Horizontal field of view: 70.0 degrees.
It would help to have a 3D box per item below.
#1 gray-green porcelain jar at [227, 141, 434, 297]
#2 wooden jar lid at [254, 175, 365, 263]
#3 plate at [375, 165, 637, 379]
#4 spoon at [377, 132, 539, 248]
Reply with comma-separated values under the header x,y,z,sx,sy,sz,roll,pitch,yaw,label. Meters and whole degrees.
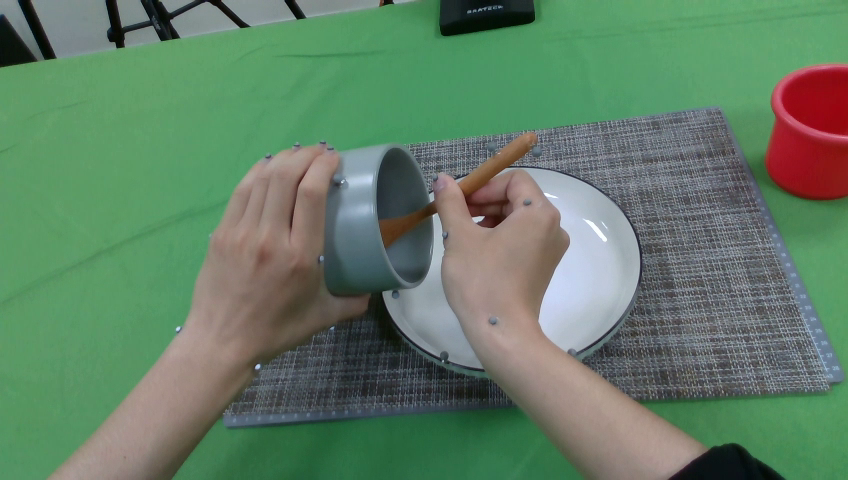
x,y,z,sx,sy,sz,roll,pitch,yaw,label
-0.070,-0.012,0.449,0.126,0.107,0.105,-6,49,21,gray-green porcelain jar
-0.109,-0.019,0.583,0.108,0.021,0.107,-6,49,7,wooden jar lid
0.064,0.024,0.494,0.207,0.039,0.205,-7,49,8,plate
0.003,-0.024,0.427,0.193,0.022,0.041,-29,52,32,spoon
